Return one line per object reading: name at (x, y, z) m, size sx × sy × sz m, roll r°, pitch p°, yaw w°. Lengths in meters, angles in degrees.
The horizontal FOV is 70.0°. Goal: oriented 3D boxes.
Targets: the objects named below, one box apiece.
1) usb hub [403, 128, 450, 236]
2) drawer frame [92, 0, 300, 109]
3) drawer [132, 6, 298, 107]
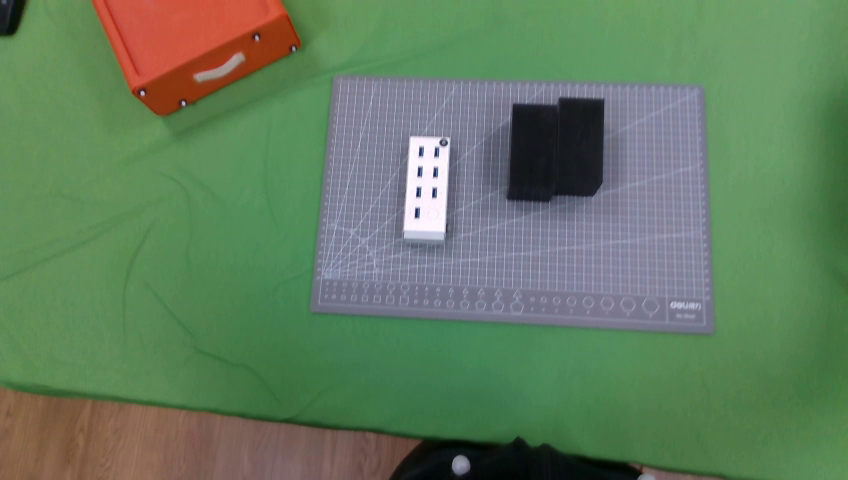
usb hub at (0.004, -0.068, 0.702) m, size 0.049 × 0.025 × 0.124 m, roll 2°, pitch 78°, yaw 3°
drawer frame at (-0.291, -0.301, 0.741) m, size 0.202 × 0.083 × 0.212 m, roll -29°, pitch 77°, yaw -3°
drawer at (-0.291, -0.299, 0.743) m, size 0.194 × 0.073 × 0.210 m, roll -29°, pitch 77°, yaw -3°
